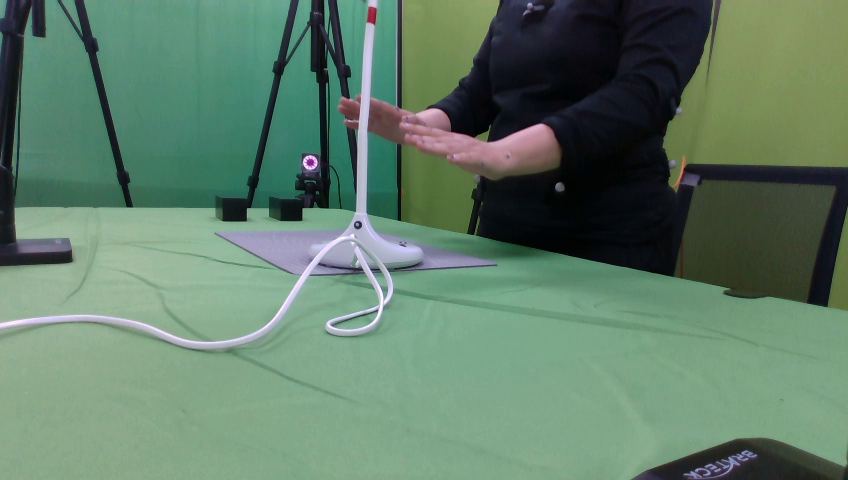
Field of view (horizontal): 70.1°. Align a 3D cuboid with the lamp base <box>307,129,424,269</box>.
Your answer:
[{"bbox_3d":[-0.076,-0.057,0.811,0.161,0.180,0.179,2,10,-4],"label":"lamp base"}]
